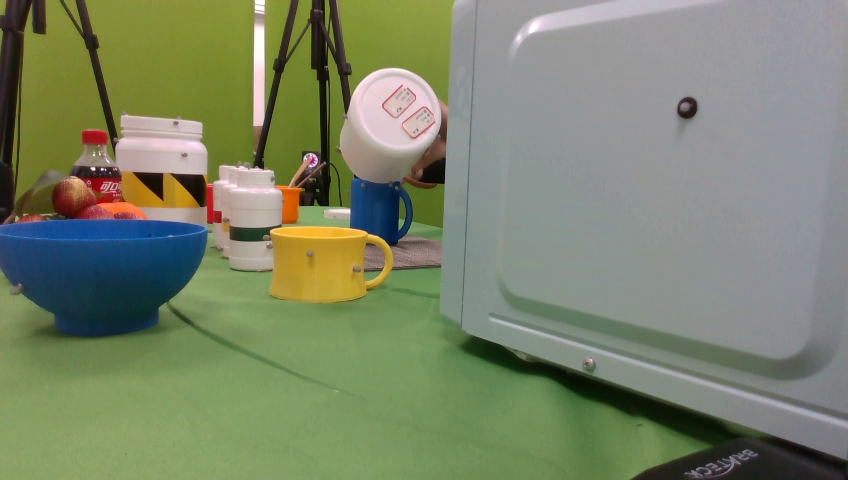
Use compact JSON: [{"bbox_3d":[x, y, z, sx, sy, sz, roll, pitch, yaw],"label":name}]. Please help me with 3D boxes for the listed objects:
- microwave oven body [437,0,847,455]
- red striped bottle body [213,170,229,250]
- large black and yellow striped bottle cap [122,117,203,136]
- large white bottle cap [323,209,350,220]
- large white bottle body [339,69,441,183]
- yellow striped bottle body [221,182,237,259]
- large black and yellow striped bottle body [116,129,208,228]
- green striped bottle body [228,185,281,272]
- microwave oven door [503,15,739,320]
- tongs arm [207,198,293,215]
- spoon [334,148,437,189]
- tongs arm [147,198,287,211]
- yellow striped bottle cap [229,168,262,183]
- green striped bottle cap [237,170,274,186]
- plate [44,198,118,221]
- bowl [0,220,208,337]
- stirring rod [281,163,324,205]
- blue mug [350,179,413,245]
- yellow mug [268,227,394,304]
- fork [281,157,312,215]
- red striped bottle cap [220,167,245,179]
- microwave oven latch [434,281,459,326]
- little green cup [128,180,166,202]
[{"bbox_3d":[0.279,-0.040,0.464,0.444,0.260,0.324,-3,9,-41],"label":"microwave oven body"},{"bbox_3d":[-0.284,-0.047,0.909,0.063,0.119,0.063,3,14,0],"label":"red striped bottle body"},{"bbox_3d":[-0.399,-0.174,0.927,0.115,0.019,0.115,5,9,-1],"label":"large black and yellow striped bottle cap"},{"bbox_3d":[-0.184,-0.062,1.449,0.115,0.018,0.115,2,8,0],"label":"large white bottle cap"},{"bbox_3d":[-0.058,-0.161,0.916,0.131,0.130,0.184,1,-11,-14],"label":"large white bottle body"},{"bbox_3d":[-0.244,-0.035,0.823,0.063,0.120,0.063,2,8,0],"label":"yellow striped bottle body"},{"bbox_3d":[-0.404,-0.089,0.937,0.131,0.184,0.130,3,7,0],"label":"large black and yellow striped bottle body"},{"bbox_3d":[-0.208,-0.024,0.745,0.063,0.119,0.063,2,7,0],"label":"green striped bottle body"},{"bbox_3d":[0.218,-0.065,0.600,0.358,0.243,0.039,-4,10,-41],"label":"microwave oven door"},{"bbox_3d":[-0.423,-0.084,1.472,0.050,0.026,0.386,1,6,21],"label":"tongs arm"},{"bbox_3d":[-0.067,-0.129,1.085,0.194,0.021,0.041,23,3,-10],"label":"spoon"},{"bbox_3d":[-0.503,-0.090,1.513,0.028,0.028,0.389,-1,3,38],"label":"tongs arm"},{"bbox_3d":[-0.241,-0.087,0.816,0.044,0.018,0.044,-2,5,1],"label":"yellow striped bottle cap"},{"bbox_3d":[-0.205,-0.075,0.737,0.044,0.020,0.044,1,7,0],"label":"green striped bottle cap"},{"bbox_3d":[-0.617,-0.056,1.179,0.209,0.038,0.209,3,7,0],"label":"plate"},{"bbox_3d":[-0.251,0.029,0.479,0.151,0.077,0.151,2,7,0],"label":"bowl"},{"bbox_3d":[-0.278,-0.105,1.293,0.176,0.006,0.014,-46,25,-18],"label":"stirring rod"},{"bbox_3d":[-0.068,-0.047,1.001,0.116,0.106,0.083,6,8,29],"label":"blue mug"},{"bbox_3d":[-0.094,0.023,0.629,0.131,0.064,0.099,0,8,-22],"label":"yellow mug"},{"bbox_3d":[-0.289,-0.116,1.321,0.028,0.019,0.207,7,52,18],"label":"fork"},{"bbox_3d":[-0.282,-0.100,0.901,0.044,0.017,0.044,0,5,0],"label":"red striped bottle cap"},{"bbox_3d":[0.044,0.045,0.470,0.079,0.029,0.030,-3,8,-39],"label":"microwave oven latch"},{"bbox_3d":[-0.485,-0.087,1.062,0.061,0.038,0.061,-1,6,0],"label":"little green cup"}]
